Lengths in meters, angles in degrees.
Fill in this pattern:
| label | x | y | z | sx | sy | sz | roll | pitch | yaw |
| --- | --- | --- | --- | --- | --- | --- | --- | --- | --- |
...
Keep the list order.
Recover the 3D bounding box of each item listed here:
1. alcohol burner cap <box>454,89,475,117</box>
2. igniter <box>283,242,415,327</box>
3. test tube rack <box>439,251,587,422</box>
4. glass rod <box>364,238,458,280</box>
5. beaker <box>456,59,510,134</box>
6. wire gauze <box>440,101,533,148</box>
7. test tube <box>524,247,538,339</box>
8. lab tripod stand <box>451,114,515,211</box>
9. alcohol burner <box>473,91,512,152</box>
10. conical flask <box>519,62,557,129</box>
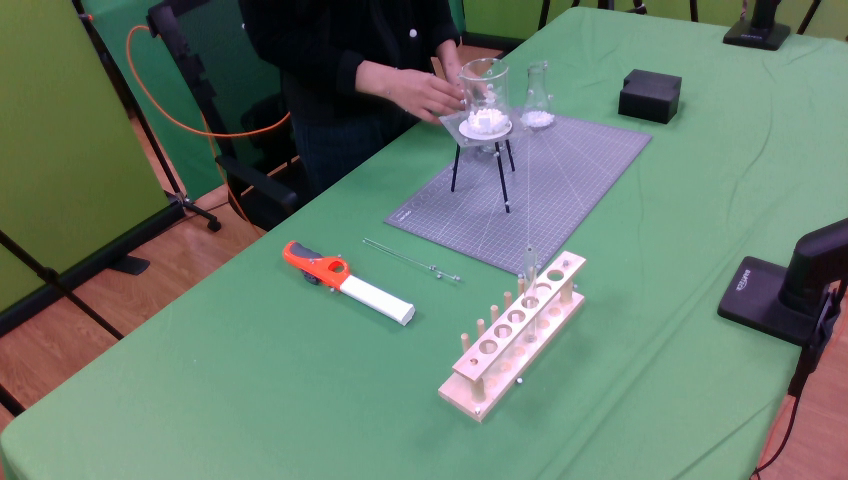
| label | x | y | z | sx | sy | sz | roll | pitch | yaw |
| --- | --- | --- | --- | --- | --- | --- | --- | --- | --- |
| alcohol burner cap | 0.071 | -0.251 | 1.095 | 0.034 | 0.048 | 0.033 | -9 | 53 | 13 |
| igniter | -0.126 | 0.062 | 0.931 | 0.274 | 0.025 | 0.057 | 24 | 61 | 33 |
| test tube rack | 0.118 | 0.111 | 0.780 | 0.066 | 0.085 | 0.243 | 26 | 51 | 34 |
| glass rod | -0.026 | 0.029 | 0.966 | 0.198 | 0.008 | 0.008 | 22 | 49 | 35 |
| beaker | 0.098 | -0.226 | 0.964 | 0.084 | 0.101 | 0.073 | -7 | 39 | 4 |
| wire gauze | 0.100 | -0.189 | 0.995 | 0.125 | 0.011 | 0.120 | -16 | 37 | -6 |
| test tube | 0.133 | 0.070 | 0.749 | 0.017 | 0.151 | 0.017 | -5 | 38 | 4 |
| lab tripod stand | 0.113 | -0.140 | 1.037 | 0.148 | 0.132 | 0.147 | -6 | 38 | 5 |
| alcohol burner | 0.132 | -0.229 | 1.154 | 0.078 | 0.119 | 0.077 | -5 | 38 | 4 |
| conical flask | 0.225 | -0.288 | 1.198 | 0.075 | 0.122 | 0.075 | -6 | 40 | 5 |
